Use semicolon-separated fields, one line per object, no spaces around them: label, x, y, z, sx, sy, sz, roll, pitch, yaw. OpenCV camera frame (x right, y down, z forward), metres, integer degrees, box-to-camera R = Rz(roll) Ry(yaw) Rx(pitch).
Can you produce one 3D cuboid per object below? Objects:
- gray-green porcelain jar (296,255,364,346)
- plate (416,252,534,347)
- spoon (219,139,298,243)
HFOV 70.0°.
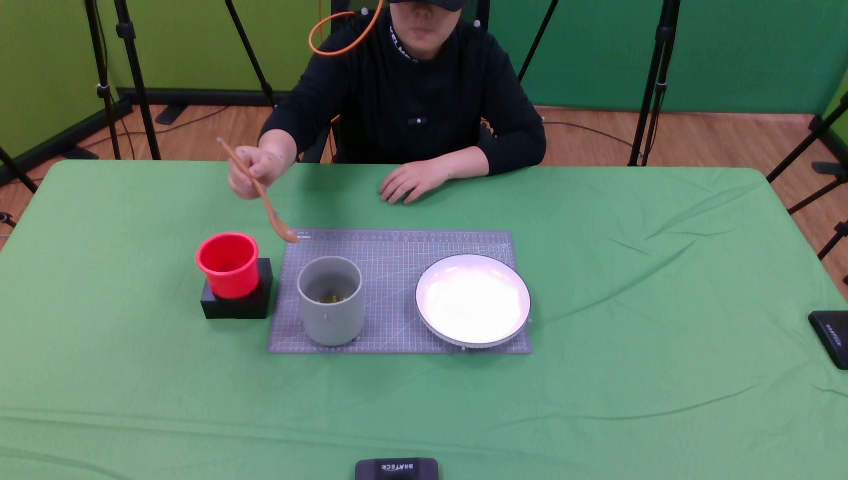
gray-green porcelain jar;-0.154;0.106;1.008;0.106;0.127;0.105;2;46;-2
plate;0.090;0.109;1.084;0.208;0.039;0.206;2;46;-2
spoon;-0.251;-0.073;0.928;0.021;0.194;0.041;-24;21;10
